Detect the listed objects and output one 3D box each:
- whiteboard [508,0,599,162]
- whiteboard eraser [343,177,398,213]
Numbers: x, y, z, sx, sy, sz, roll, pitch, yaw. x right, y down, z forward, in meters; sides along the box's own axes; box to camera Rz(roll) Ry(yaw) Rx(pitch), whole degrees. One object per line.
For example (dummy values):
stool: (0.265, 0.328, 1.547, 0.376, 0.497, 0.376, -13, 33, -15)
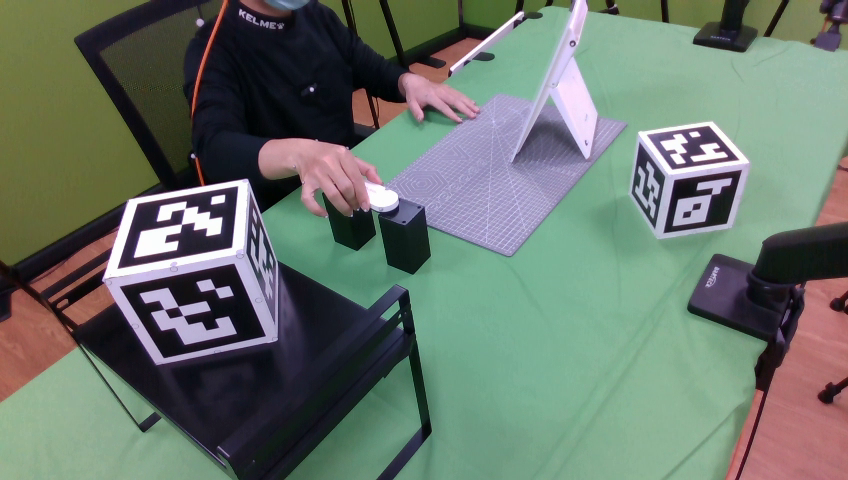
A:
whiteboard: (0.285, -0.289, 1.090, 0.144, 0.305, 0.217, 22, 45, 3)
whiteboard eraser: (-0.081, -0.069, 0.910, 0.100, 0.019, 0.041, 26, 52, 33)
